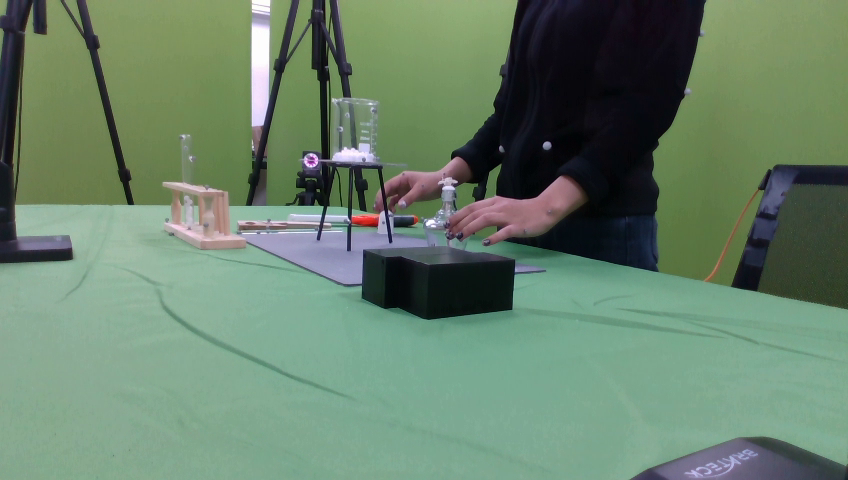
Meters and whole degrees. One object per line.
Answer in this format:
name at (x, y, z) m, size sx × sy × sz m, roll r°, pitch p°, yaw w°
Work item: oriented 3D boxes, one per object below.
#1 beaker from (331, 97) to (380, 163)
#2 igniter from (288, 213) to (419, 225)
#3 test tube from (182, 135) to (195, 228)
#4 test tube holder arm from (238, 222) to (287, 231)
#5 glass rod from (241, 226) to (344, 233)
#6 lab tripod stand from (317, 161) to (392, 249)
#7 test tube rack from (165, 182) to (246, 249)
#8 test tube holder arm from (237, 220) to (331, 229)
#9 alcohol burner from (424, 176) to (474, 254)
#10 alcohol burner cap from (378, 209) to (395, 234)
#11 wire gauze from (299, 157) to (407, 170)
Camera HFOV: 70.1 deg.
beaker at (-0.111, -0.171, 0.950) m, size 0.073 × 0.100 × 0.084 m, roll 12°, pitch 12°, yaw 42°
igniter at (-0.145, -0.044, 1.278) m, size 0.278 × 0.025 × 0.057 m, roll -1°, pitch -2°, yaw -21°
test tube at (-0.382, -0.095, 0.983) m, size 0.017 × 0.150 × 0.017 m, roll -1°, pitch 2°, yaw 0°
test tube holder arm at (-0.296, -0.024, 1.113) m, size 0.088 × 0.015 × 0.010 m, roll -1°, pitch 41°, yaw -32°
glass rod at (-0.239, -0.019, 1.118) m, size 0.201 × 0.008 × 0.008 m, roll -3°, pitch 9°, yaw -33°
lab tripod stand at (-0.111, -0.059, 0.963) m, size 0.148 × 0.131 × 0.148 m, roll 4°, pitch 8°, yaw 0°
test tube rack at (-0.360, -0.045, 0.983) m, size 0.067 × 0.085 × 0.241 m, roll -3°, pitch 9°, yaw -34°
test tube holder arm at (-0.260, -0.028, 1.140) m, size 0.179 × 0.015 × 0.013 m, roll -1°, pitch 41°, yaw -32°
alcohol burner at (0.038, -0.038, 0.930) m, size 0.078 × 0.119 × 0.078 m, roll 1°, pitch 8°, yaw 0°
alcohol burner cap at (-0.072, -0.035, 1.145) m, size 0.034 × 0.048 × 0.034 m, roll 1°, pitch 7°, yaw 0°
wire gauze at (-0.112, -0.124, 0.959) m, size 0.121 × 0.011 × 0.126 m, roll 13°, pitch 12°, yaw 40°
